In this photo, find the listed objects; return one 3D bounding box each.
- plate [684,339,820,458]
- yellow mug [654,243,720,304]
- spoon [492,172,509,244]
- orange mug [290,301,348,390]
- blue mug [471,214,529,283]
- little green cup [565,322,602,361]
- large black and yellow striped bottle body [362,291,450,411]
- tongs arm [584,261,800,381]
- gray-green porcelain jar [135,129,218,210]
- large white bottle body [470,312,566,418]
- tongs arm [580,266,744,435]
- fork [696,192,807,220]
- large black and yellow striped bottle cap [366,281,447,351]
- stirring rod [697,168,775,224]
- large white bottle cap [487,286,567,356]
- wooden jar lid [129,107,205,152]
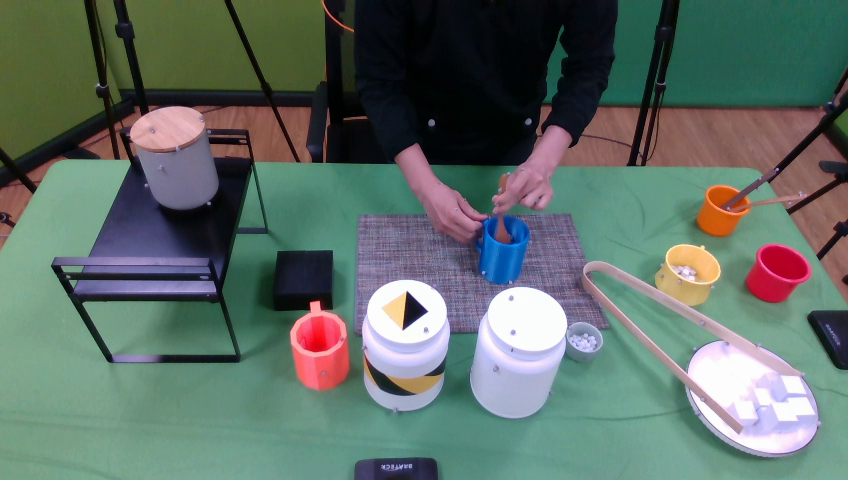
[{"bbox_3d":[0.523,0.256,0.982,0.208,0.039,0.206,2,46,-2],"label":"plate"},{"bbox_3d":[0.504,0.054,1.154,0.099,0.064,0.130,28,50,22],"label":"yellow mug"},{"bbox_3d":[0.136,-0.046,1.089,0.041,0.195,0.021,-13,43,-8],"label":"spoon"},{"bbox_3d":[-0.170,0.162,0.976,0.083,0.101,0.125,-7,52,-11],"label":"orange mug"},{"bbox_3d":[0.134,0.008,1.137,0.116,0.106,0.082,36,54,27],"label":"blue mug"},{"bbox_3d":[0.270,0.176,1.039,0.061,0.039,0.061,2,46,-2],"label":"little green cup"},{"bbox_3d":[-0.029,0.163,0.928,0.131,0.185,0.130,2,47,-2],"label":"large black and yellow striped bottle body"},{"bbox_3d":[0.452,0.137,1.064,0.051,0.027,0.382,-34,50,-27],"label":"tongs arm"},{"bbox_3d":[-0.388,-0.120,0.960,0.106,0.127,0.105,2,46,-2],"label":"gray-green porcelain jar"},{"bbox_3d":[0.143,0.173,0.930,0.131,0.185,0.130,2,46,-2],"label":"large white bottle body"},{"bbox_3d":[0.384,0.173,1.028,0.028,0.028,0.385,-25,46,-15],"label":"tongs arm"},{"bbox_3d":[0.655,-0.069,1.224,0.207,0.019,0.028,-17,33,45],"label":"fork"},{"bbox_3d":[-0.025,0.106,0.866,0.115,0.019,0.114,2,46,-1],"label":"large black and yellow striped bottle cap"},{"bbox_3d":[0.644,-0.090,1.252,0.176,0.006,0.014,-40,53,16],"label":"stirring rod"},{"bbox_3d":[0.147,0.114,0.869,0.115,0.018,0.114,3,46,-3],"label":"large white bottle cap"},{"bbox_3d":[-0.385,-0.163,0.915,0.108,0.021,0.107,2,47,-2],"label":"wooden jar lid"}]
